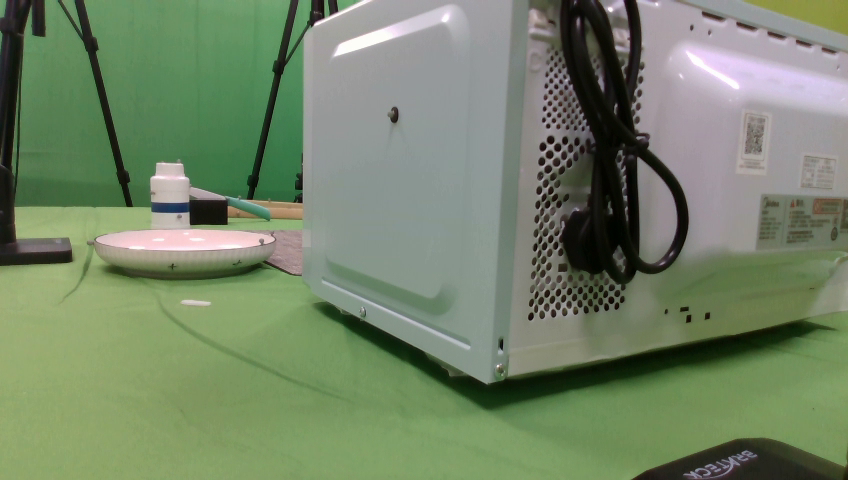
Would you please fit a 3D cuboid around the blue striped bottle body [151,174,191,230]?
[{"bbox_3d":[-0.439,-0.071,1.052,0.063,0.120,0.063,2,7,0],"label":"blue striped bottle body"}]

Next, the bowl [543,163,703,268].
[{"bbox_3d":[0.181,-0.020,0.585,0.151,0.077,0.151,13,7,-1],"label":"bowl"}]

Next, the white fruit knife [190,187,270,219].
[{"bbox_3d":[-0.413,-0.081,1.270,0.208,0.027,0.016,17,14,-41],"label":"white fruit knife"}]

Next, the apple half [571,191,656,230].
[{"bbox_3d":[0.181,-0.030,0.584,0.081,0.033,0.081,9,-5,1],"label":"apple half"}]

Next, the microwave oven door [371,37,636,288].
[{"bbox_3d":[0.110,-0.080,0.686,0.358,0.243,0.039,-2,9,-33],"label":"microwave oven door"}]

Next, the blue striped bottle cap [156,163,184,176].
[{"bbox_3d":[-0.438,-0.121,1.045,0.044,0.020,0.044,4,6,0],"label":"blue striped bottle cap"}]

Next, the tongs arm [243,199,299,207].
[{"bbox_3d":[-0.309,-0.079,1.487,0.385,0.026,0.050,3,7,-2],"label":"tongs arm"}]

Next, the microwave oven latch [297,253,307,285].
[{"bbox_3d":[-0.082,0.027,0.582,0.079,0.029,0.030,-1,7,-33],"label":"microwave oven latch"}]

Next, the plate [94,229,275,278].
[{"bbox_3d":[-0.291,0.016,0.749,0.208,0.039,0.207,2,7,0],"label":"plate"}]

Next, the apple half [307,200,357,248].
[{"bbox_3d":[-0.135,-0.024,0.941,0.053,0.074,0.081,13,8,38],"label":"apple half"}]

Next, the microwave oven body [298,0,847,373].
[{"bbox_3d":[0.151,-0.055,0.542,0.444,0.260,0.324,-1,7,-33],"label":"microwave oven body"}]

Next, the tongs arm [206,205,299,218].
[{"bbox_3d":[-0.302,-0.065,1.407,0.389,0.028,0.028,1,4,-15],"label":"tongs arm"}]
